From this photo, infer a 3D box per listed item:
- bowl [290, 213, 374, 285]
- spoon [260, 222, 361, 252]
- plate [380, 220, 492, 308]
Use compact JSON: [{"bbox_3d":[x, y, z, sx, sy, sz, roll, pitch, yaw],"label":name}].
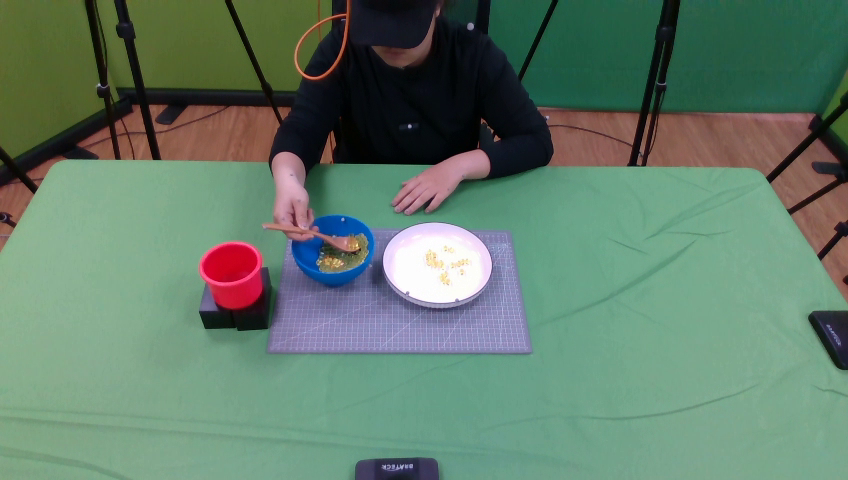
[{"bbox_3d":[-0.166,0.030,1.113,0.151,0.077,0.150,2,46,-2],"label":"bowl"},{"bbox_3d":[-0.198,-0.010,1.079,0.195,0.021,0.041,17,35,-37],"label":"spoon"},{"bbox_3d":[0.022,0.048,1.138,0.208,0.039,0.206,2,46,-2],"label":"plate"}]
